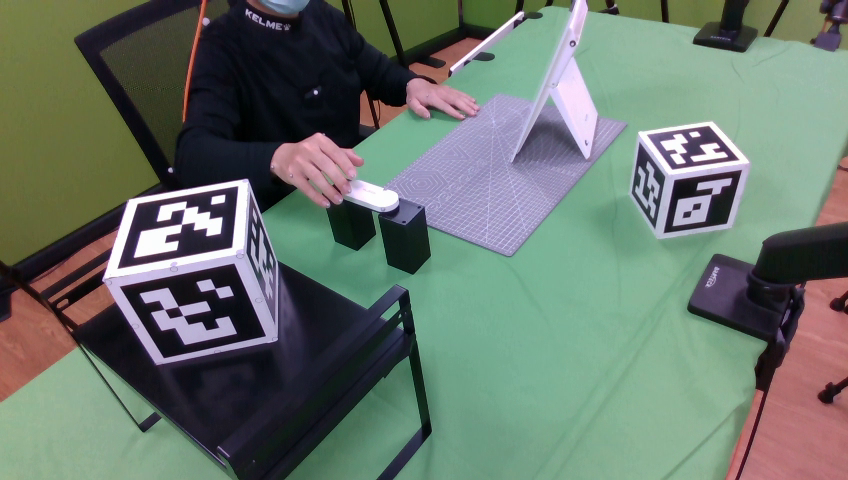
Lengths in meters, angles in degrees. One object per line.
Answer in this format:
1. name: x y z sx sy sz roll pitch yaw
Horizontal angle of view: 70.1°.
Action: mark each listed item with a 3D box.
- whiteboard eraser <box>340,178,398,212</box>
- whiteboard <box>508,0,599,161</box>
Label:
1. whiteboard eraser: -0.083 -0.068 0.906 0.100 0.019 0.041 20 49 29
2. whiteboard: 0.285 -0.289 1.088 0.144 0.305 0.217 22 45 3
